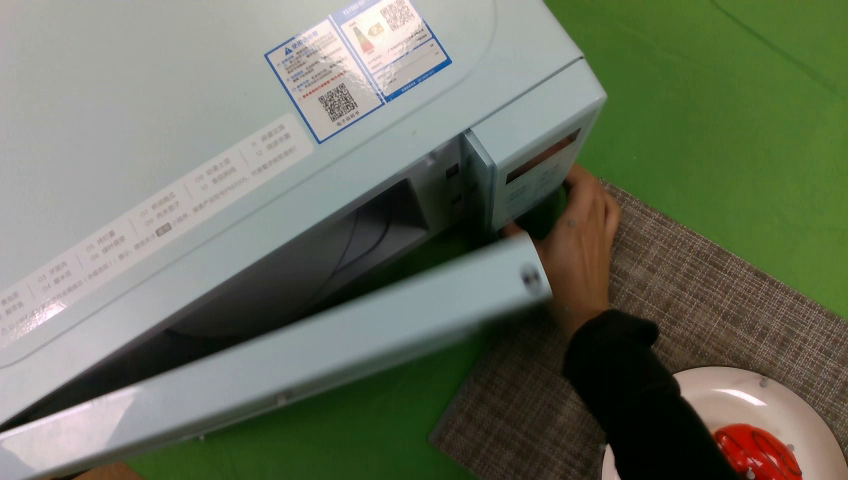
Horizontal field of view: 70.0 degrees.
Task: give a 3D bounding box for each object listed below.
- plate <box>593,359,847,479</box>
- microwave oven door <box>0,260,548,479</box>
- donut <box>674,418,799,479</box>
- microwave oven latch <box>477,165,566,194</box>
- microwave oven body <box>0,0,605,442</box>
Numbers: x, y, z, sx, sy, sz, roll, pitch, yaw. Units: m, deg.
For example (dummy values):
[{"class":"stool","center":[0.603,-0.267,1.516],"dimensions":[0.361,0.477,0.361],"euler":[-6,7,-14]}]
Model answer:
[{"class":"plate","center":[0.250,0.208,0.523],"dimensions":[0.209,0.038,0.208],"euler":[-1,81,4]},{"class":"microwave oven door","center":[-0.091,0.095,0.449],"dimensions":[0.356,0.245,0.039],"euler":[-19,79,1]},{"class":"donut","center":[0.262,0.200,0.512],"dimensions":[0.099,0.048,0.098],"euler":[0,83,3]},{"class":"microwave oven latch","center":[0.090,-0.059,0.563],"dimensions":[0.079,0.029,0.030],"euler":[5,83,5]},{"class":"microwave oven body","center":[-0.151,-0.083,0.487],"dimensions":[0.442,0.261,0.324],"euler":[-33,80,-1]}]
